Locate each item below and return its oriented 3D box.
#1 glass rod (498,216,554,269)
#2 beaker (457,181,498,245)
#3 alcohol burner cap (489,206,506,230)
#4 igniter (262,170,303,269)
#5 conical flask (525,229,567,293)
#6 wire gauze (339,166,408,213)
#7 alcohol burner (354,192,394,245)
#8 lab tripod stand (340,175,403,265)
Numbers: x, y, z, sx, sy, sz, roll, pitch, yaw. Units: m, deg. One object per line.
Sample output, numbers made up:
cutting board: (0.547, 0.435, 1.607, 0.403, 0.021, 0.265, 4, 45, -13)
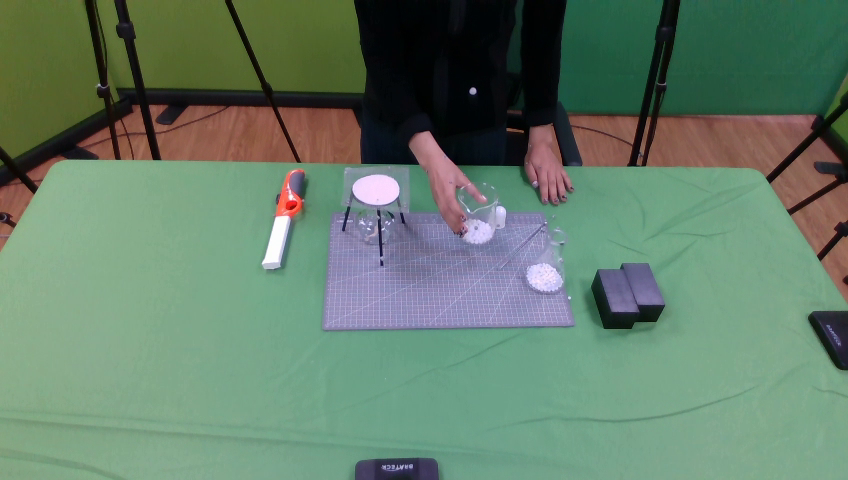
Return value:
glass rod: (0.208, 0.002, 1.219, 0.008, 0.008, 0.199, 32, 52, 25)
beaker: (0.097, -0.045, 1.125, 0.074, 0.101, 0.083, 11, 46, 14)
alcohol burner cap: (0.152, -0.047, 1.241, 0.034, 0.048, 0.033, 2, 45, -2)
igniter: (-0.283, -0.050, 1.222, 0.057, 0.025, 0.275, -5, 45, 6)
conical flask: (0.231, 0.036, 1.110, 0.075, 0.122, 0.075, 2, 46, -2)
wire gauze: (-0.091, -0.096, 1.110, 0.125, 0.011, 0.120, 2, 44, -3)
alcohol burner: (-0.096, -0.048, 1.171, 0.078, 0.119, 0.077, 4, 45, -4)
lab tripod stand: (-0.094, -0.050, 1.160, 0.148, 0.132, 0.147, 2, 44, -2)
